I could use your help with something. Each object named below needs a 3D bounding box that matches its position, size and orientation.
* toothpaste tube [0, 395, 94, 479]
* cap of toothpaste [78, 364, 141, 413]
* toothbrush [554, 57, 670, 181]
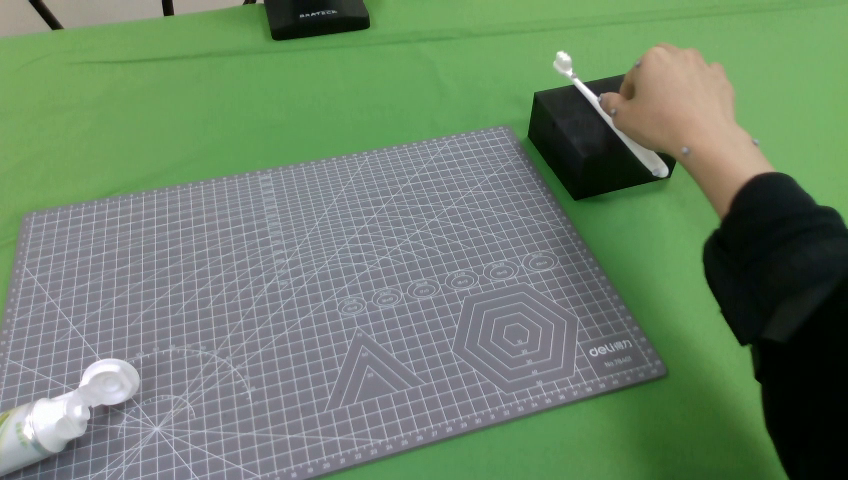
[{"bbox_3d":[-0.283,0.135,0.366,0.165,0.035,0.054,-21,46,-8],"label":"toothpaste tube"},{"bbox_3d":[-0.204,0.098,0.393,0.037,0.037,0.011,-15,22,-13],"label":"cap of toothpaste"},{"bbox_3d":[0.164,-0.113,0.539,0.014,0.017,0.180,-12,49,-17],"label":"toothbrush"}]
